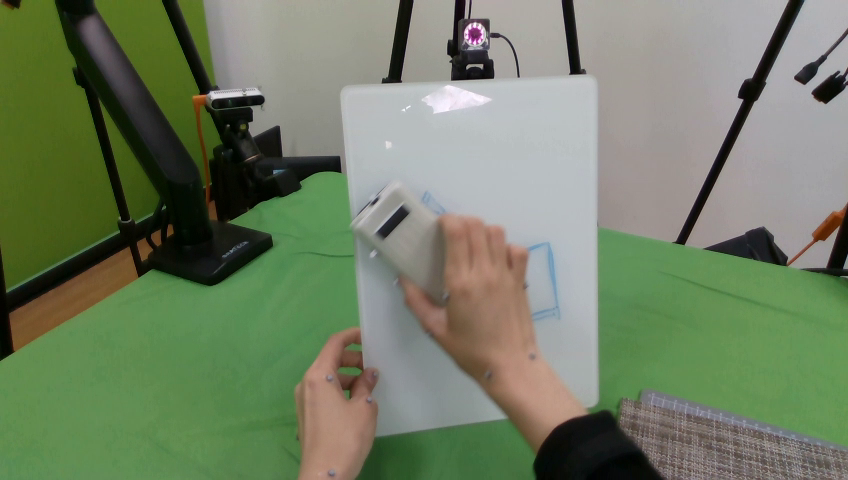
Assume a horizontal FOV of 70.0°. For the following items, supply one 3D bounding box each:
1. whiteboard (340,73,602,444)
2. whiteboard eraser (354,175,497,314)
[{"bbox_3d":[0.039,0.008,0.584,0.217,0.306,0.143,-5,11,-8],"label":"whiteboard"},{"bbox_3d":[0.002,0.004,0.488,0.055,0.113,0.041,-47,15,-2],"label":"whiteboard eraser"}]
